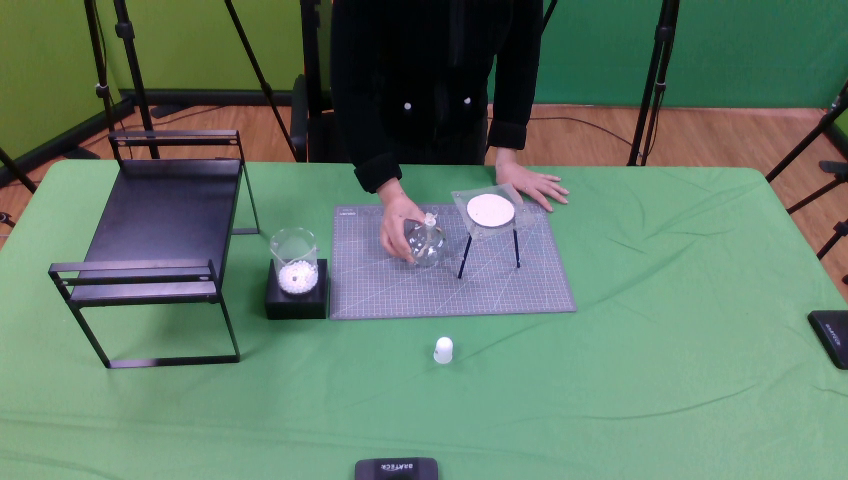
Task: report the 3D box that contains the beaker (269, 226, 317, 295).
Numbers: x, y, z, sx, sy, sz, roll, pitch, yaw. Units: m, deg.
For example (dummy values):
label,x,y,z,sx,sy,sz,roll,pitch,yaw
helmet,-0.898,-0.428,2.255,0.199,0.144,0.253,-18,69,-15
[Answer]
label,x,y,z,sx,sy,sz,roll,pitch,yaw
beaker,-0.218,0.040,1.020,0.074,0.101,0.083,6,47,2

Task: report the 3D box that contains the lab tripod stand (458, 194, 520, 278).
label,x,y,z,sx,sy,sz,roll,pitch,yaw
lab tripod stand,0.115,-0.011,1.136,0.148,0.132,0.147,1,45,-1

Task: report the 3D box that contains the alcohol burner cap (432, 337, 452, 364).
label,x,y,z,sx,sy,sz,roll,pitch,yaw
alcohol burner cap,0.031,0.182,1.011,0.034,0.048,0.033,4,45,-4

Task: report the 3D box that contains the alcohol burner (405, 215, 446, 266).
label,x,y,z,sx,sy,sz,roll,pitch,yaw
alcohol burner,0.005,-0.007,1.120,0.078,0.119,0.077,6,50,-7

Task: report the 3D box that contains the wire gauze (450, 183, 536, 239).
label,x,y,z,sx,sy,sz,roll,pitch,yaw
wire gauze,0.122,-0.057,1.087,0.121,0.011,0.124,-12,46,-14
